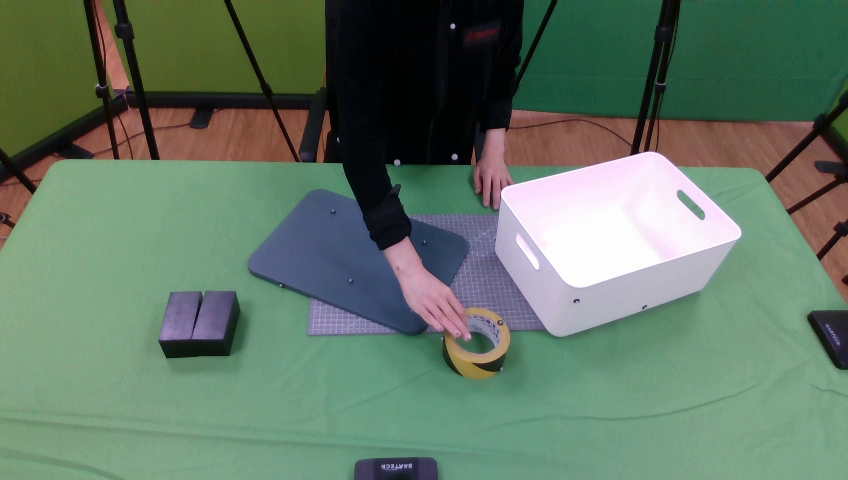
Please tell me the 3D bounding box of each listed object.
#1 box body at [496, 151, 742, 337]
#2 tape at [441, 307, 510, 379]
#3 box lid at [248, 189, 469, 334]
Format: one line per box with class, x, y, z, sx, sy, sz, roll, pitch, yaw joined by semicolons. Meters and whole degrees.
box body;0.340;0.003;1.118;0.364;0.161;0.252;-15;49;-18
tape;0.088;0.172;1.014;0.117;0.053;0.116;1;49;-1
box lid;-0.123;0.028;1.167;0.371;0.015;0.262;19;47;14
